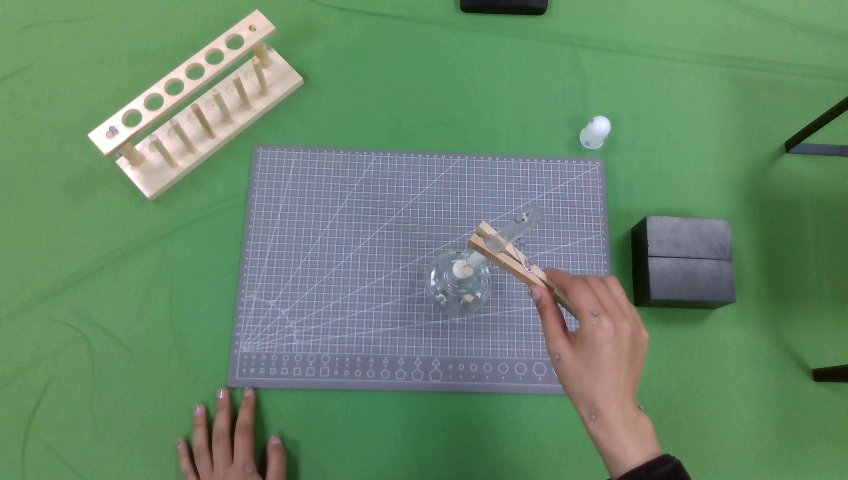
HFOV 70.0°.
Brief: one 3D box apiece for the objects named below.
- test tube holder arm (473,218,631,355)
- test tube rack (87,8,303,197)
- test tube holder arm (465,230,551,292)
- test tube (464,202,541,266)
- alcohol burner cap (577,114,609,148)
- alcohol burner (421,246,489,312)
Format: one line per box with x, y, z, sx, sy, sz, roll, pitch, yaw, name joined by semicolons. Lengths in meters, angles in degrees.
0.115;0.042;0.545;0.178;0.015;0.013;39;72;0;test tube holder arm
-0.266;-0.165;0.731;0.242;0.085;0.066;-42;80;-13;test tube rack
0.076;0.020;0.542;0.088;0.015;0.010;32;71;-3;test tube holder arm
0.064;-0.001;0.528;0.017;0.150;0.017;4;72;-14;test tube
0.219;-0.142;0.777;0.034;0.048;0.033;1;74;-3;alcohol burner cap
0.037;0.040;0.677;0.078;0.119;0.077;1;73;-4;alcohol burner
